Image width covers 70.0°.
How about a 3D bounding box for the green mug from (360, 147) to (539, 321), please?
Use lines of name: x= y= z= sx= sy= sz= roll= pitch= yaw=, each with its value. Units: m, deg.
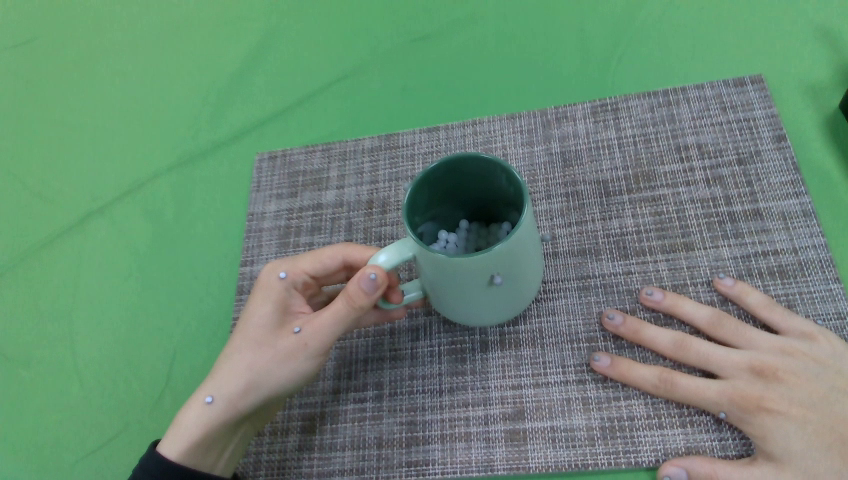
green mug: x=0.016 y=0.007 z=0.413 sx=0.125 sy=0.106 sz=0.091 roll=-27 pitch=60 yaw=-3
